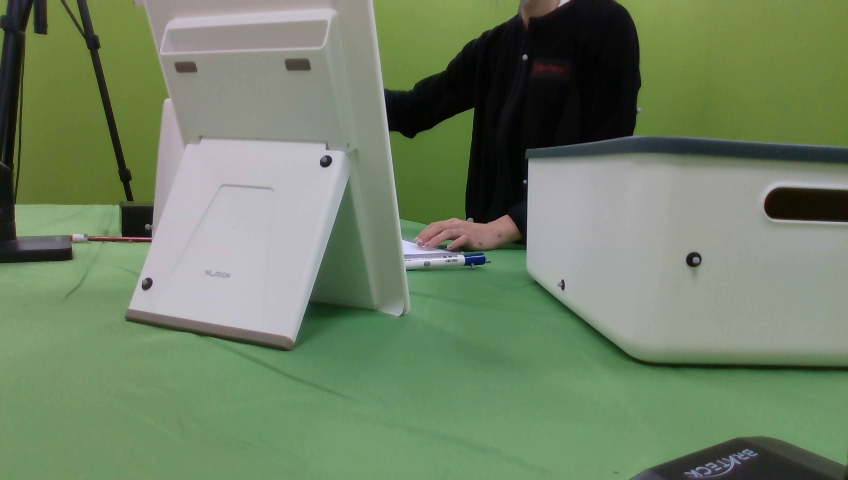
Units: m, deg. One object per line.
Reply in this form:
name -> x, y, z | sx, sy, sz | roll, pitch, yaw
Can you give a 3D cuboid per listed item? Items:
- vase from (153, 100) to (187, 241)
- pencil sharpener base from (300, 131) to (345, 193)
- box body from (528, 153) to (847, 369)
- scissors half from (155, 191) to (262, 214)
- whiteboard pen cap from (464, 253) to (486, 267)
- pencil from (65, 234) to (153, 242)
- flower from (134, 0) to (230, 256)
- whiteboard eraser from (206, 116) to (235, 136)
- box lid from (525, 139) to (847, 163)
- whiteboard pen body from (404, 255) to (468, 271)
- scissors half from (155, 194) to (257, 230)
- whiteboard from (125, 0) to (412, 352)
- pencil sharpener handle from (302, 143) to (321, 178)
vase -> -0.278, -0.066, 0.736 | 0.098, 0.200, 0.098 | 2, 9, 0
pencil sharpener base -> -0.194, -0.145, 1.146 | 0.062, 0.107, 0.076 | -1, -2, -35
box body -> 0.258, -0.005, 0.591 | 0.254, 0.160, 0.363 | 2, 7, -4
scissors half -> -0.371, -0.069, 1.051 | 0.176, 0.040, 0.013 | 2, 25, -24
whiteboard pen cap -> 0.066, 0.027, 0.818 | 0.033, 0.018, 0.018 | -5, 10, -24
pencil -> -0.429, -0.001, 0.911 | 0.195, 0.012, 0.012 | 1, 8, -20
flower -> -0.282, -0.147, 0.713 | 0.038, 0.362, 0.044 | -23, 24, -31
whiteboard eraser -> -0.450, -0.252, 1.335 | 0.056, 0.042, 0.112 | 1, 7, -22
box lid -> 0.261, -0.078, 0.580 | 0.264, 0.015, 0.371 | 2, 7, -4
whiteboard pen body -> 0.013, 0.030, 0.792 | 0.141, 0.017, 0.017 | -3, 9, -24
scissors half -> -0.378, -0.051, 1.058 | 0.176, 0.040, 0.012 | 20, 22, -31
whiteboard -> -0.151, -0.049, 0.472 | 0.216, 0.305, 0.144 | 6, 27, 24
pencil sharpener handle -> -0.226, -0.155, 1.186 | 0.036, 0.067, 0.030 | 11, -9, -35
